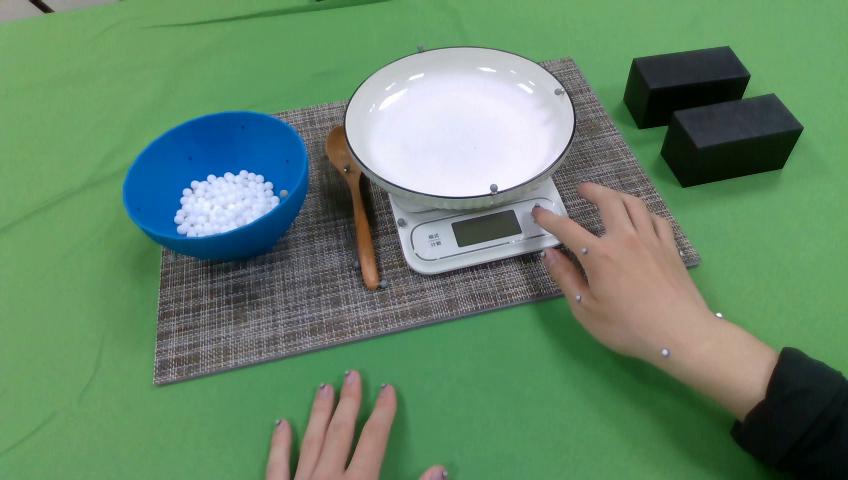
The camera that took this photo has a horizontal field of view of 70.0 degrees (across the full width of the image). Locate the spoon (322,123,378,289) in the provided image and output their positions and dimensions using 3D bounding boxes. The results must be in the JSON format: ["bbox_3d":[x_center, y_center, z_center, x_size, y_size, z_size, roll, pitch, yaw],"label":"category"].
[{"bbox_3d":[-0.065,-0.037,0.556,0.042,0.022,0.191,-3,51,-15],"label":"spoon"}]

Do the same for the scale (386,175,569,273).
[{"bbox_3d":[0.036,-0.065,0.565,0.149,0.032,0.198,-12,52,-5],"label":"scale"}]

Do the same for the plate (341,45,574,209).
[{"bbox_3d":[0.030,-0.103,0.553,0.209,0.038,0.207,-1,52,2],"label":"plate"}]

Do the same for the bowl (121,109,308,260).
[{"bbox_3d":[-0.169,-0.035,0.527,0.151,0.077,0.150,-2,51,3],"label":"bowl"}]
